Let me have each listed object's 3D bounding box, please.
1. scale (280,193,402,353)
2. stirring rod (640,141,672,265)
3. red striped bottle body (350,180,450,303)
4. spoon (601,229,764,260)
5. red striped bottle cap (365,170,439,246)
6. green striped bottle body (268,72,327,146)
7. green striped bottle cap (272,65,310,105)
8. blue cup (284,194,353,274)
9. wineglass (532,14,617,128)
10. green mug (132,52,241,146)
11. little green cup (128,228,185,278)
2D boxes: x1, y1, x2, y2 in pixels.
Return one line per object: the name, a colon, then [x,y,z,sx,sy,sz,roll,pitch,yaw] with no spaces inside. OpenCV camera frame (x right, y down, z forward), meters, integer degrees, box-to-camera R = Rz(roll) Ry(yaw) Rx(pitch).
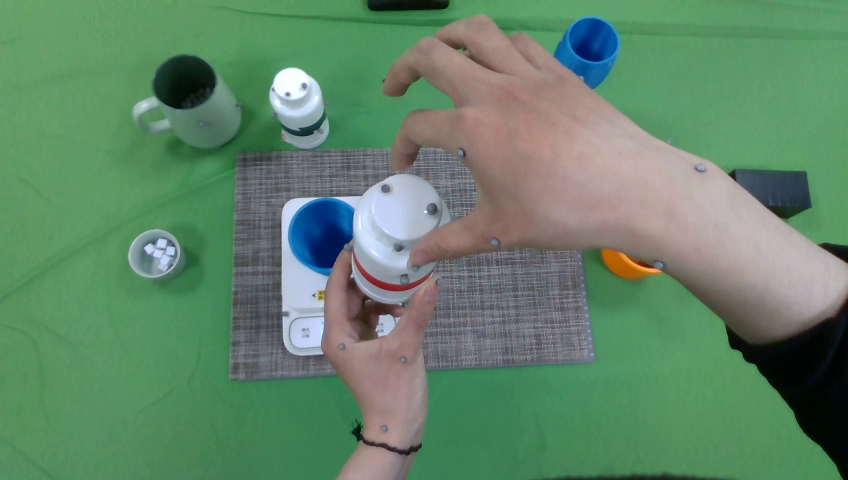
scale: [-0.107,0.038,0.768,0.149,0.031,0.200,-3,76,-4]
stirring rod: [0.289,-0.041,0.756,0.014,0.177,0.006,3,34,11]
red striped bottle body: [-0.019,-0.001,0.413,0.063,0.120,0.062,2,70,-6]
spoon: [0.310,0.009,0.745,0.022,0.192,0.041,19,79,-43]
red striped bottle cap: [-0.013,-0.020,0.363,0.044,0.018,0.044,3,71,-9]
green striped bottle body: [-0.161,-0.172,0.777,0.063,0.120,0.063,1,75,-3]
green striped bottle cap: [-0.160,-0.186,0.727,0.044,0.020,0.044,1,74,-4]
blue cup: [-0.111,0.001,0.710,0.093,0.100,0.092,1,78,-3]
wineglass: [0.189,-0.211,0.780,0.074,0.173,0.073,1,75,-2]
green mug: [-0.307,-0.173,0.776,0.125,0.105,0.092,-24,78,-9]
little green cup: [-0.331,0.019,0.759,0.061,0.039,0.061,1,75,-4]
